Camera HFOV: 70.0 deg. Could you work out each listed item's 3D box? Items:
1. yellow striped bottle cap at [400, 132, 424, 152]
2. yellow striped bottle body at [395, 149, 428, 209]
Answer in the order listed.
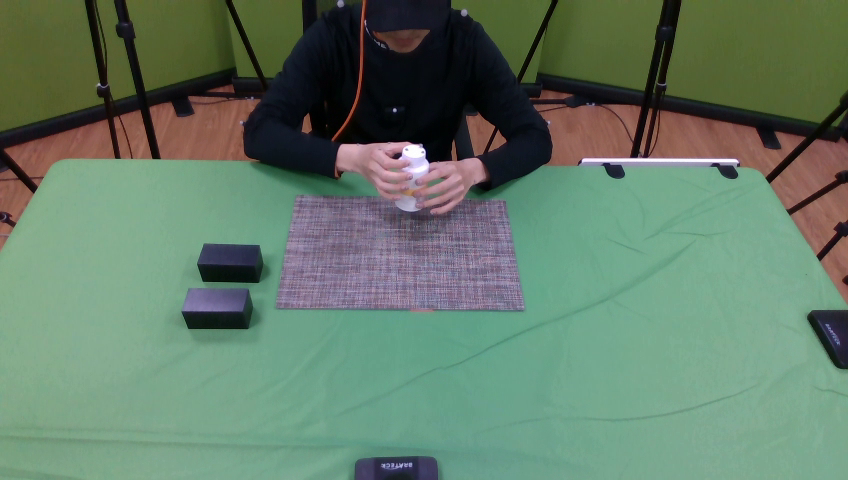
[{"bbox_3d":[-0.021,-0.183,1.125,0.044,0.019,0.044,-3,42,3],"label":"yellow striped bottle cap"},{"bbox_3d":[-0.024,-0.124,1.172,0.063,0.121,0.062,2,40,-2],"label":"yellow striped bottle body"}]
